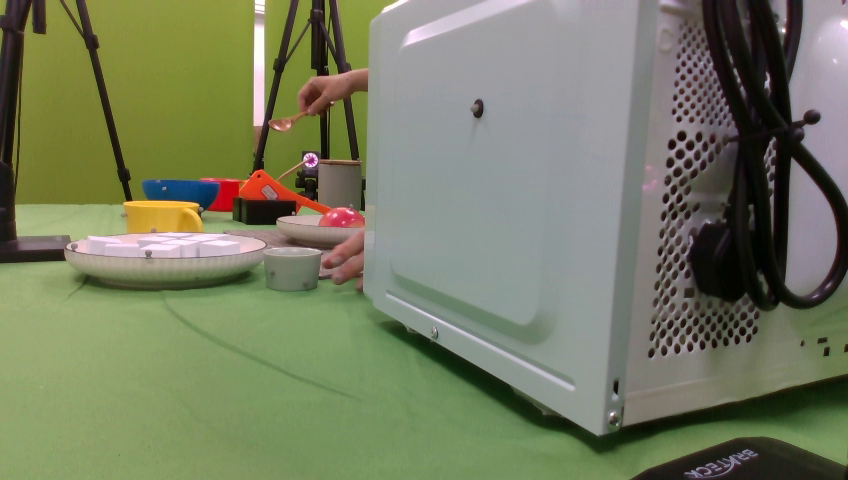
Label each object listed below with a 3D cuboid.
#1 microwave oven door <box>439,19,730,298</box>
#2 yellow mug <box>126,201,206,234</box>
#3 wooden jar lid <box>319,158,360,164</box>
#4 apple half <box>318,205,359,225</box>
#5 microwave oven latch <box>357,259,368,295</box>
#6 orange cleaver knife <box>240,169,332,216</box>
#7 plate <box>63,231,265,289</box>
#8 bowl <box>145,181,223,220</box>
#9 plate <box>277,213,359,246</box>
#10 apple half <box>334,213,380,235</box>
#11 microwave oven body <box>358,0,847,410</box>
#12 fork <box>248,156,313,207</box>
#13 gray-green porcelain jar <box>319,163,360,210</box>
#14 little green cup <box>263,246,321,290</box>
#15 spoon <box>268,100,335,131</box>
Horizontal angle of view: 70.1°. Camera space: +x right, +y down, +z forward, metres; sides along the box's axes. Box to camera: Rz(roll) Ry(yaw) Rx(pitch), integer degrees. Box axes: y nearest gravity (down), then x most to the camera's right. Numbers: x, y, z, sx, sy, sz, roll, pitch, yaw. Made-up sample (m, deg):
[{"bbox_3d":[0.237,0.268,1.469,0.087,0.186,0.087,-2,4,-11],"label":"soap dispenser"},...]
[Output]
[{"bbox_3d":[0.182,-0.076,0.617,0.358,0.243,0.039,-2,8,-28],"label":"microwave oven door"},{"bbox_3d":[-0.360,-0.019,0.866,0.130,0.064,0.100,6,9,27],"label":"yellow mug"},{"bbox_3d":[-0.203,-0.189,1.482,0.108,0.020,0.108,2,10,0],"label":"wooden jar lid"},{"bbox_3d":[-0.126,-0.028,0.954,0.081,0.053,0.074,-2,11,-33],"label":"apple half"},{"bbox_3d":[-0.019,0.031,0.529,0.079,0.029,0.030,-1,7,-26],"label":"microwave oven latch"},{"bbox_3d":[-0.286,-0.082,1.298,0.212,0.077,0.012,25,-2,-31],"label":"orange cleaver knife"},{"bbox_3d":[-0.288,0.021,0.687,0.208,0.039,0.207,2,8,0],"label":"plate"},{"bbox_3d":[-0.499,-0.081,1.261,0.151,0.077,0.151,2,7,0],"label":"bowl"},{"bbox_3d":[-0.135,-0.018,0.994,0.209,0.038,0.209,2,7,0],"label":"plate"},{"bbox_3d":[-0.112,-0.029,1.034,0.081,0.033,0.081,0,9,0],"label":"apple half"},{"bbox_3d":[0.210,-0.051,0.471,0.444,0.260,0.324,-1,7,-28],"label":"microwave oven body"},{"bbox_3d":[-0.360,-0.147,1.523,0.207,0.019,0.028,-43,16,-6],"label":"fork"},{"bbox_3d":[-0.204,-0.126,1.490,0.106,0.126,0.106,2,7,0],"label":"gray-green porcelain jar"},{"bbox_3d":[-0.142,0.029,0.649,0.061,0.038,0.061,4,7,0],"label":"little green cup"},{"bbox_3d":[-0.274,-0.287,1.382,0.041,0.021,0.194,35,50,23],"label":"spoon"}]
